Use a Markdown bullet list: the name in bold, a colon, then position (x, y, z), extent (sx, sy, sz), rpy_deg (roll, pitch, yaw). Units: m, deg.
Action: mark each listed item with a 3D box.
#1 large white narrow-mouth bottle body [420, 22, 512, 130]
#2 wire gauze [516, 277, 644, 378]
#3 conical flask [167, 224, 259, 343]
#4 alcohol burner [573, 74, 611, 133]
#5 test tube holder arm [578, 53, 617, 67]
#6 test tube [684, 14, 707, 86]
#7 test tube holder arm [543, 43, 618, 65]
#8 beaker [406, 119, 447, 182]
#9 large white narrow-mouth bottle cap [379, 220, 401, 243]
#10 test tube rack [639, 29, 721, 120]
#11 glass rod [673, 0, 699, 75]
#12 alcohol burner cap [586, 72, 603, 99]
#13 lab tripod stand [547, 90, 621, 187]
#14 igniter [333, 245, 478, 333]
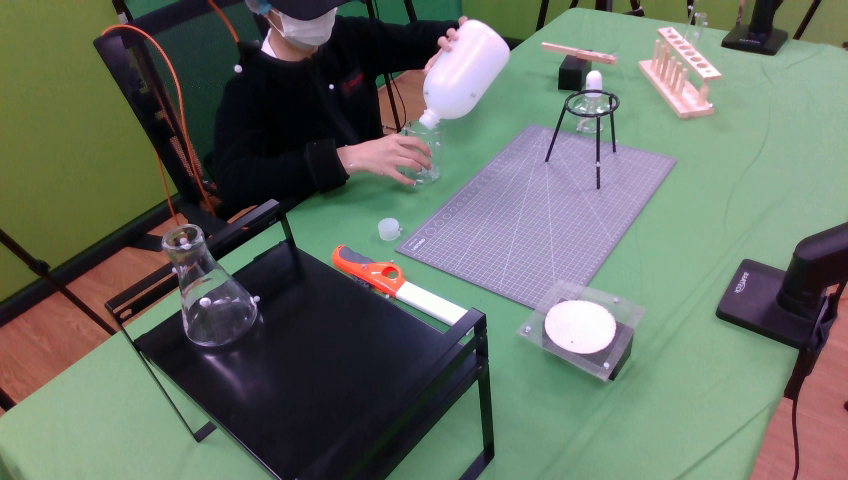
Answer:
- **large white narrow-mouth bottle body**: position (0.063, -0.280, 1.073), extent (0.194, 0.103, 0.101), rpy_deg (-52, 48, 4)
- **wire gauze**: position (0.197, 0.103, 0.765), extent (0.124, 0.011, 0.122), rpy_deg (23, 50, 31)
- **conical flask**: position (-0.220, 0.041, 0.613), extent (0.075, 0.122, 0.075), rpy_deg (-5, 40, 4)
- **alcohol burner**: position (0.330, -0.270, 1.176), extent (0.078, 0.119, 0.077), rpy_deg (-4, 43, 4)
- **test tube holder arm**: position (0.376, -0.393, 1.314), extent (0.087, 0.015, 0.010), rpy_deg (26, 51, 32)
- **test tube**: position (0.541, -0.379, 1.216), extent (0.017, 0.151, 0.017), rpy_deg (-2, 44, 2)
- **test tube holder arm**: position (0.345, -0.413, 1.340), extent (0.177, 0.015, 0.013), rpy_deg (25, 50, 31)
- **beaker**: position (0.004, -0.164, 1.109), extent (0.073, 0.100, 0.084), rpy_deg (20, 35, 24)
- **large white narrow-mouth bottle cap**: position (-0.057, -0.015, 1.011), extent (0.038, 0.024, 0.037), rpy_deg (-4, 40, 4)
- **test tube rack**: position (0.527, -0.351, 1.262), extent (0.067, 0.085, 0.241), rpy_deg (-8, 40, 1)
- **glass rod**: position (0.541, -0.427, 1.246), extent (0.008, 0.200, 0.008), rpy_deg (0, 48, 1)
- **alcohol burner cap**: position (0.325, -0.297, 1.154), extent (0.034, 0.048, 0.033), rpy_deg (-8, 35, 6)
- **lab tripod stand**: position (0.289, -0.184, 1.062), extent (0.148, 0.132, 0.147), rpy_deg (-6, 41, 6)
- **igniter**: position (-0.038, 0.068, 0.905), extent (0.274, 0.025, 0.057), rpy_deg (24, 60, 32)
